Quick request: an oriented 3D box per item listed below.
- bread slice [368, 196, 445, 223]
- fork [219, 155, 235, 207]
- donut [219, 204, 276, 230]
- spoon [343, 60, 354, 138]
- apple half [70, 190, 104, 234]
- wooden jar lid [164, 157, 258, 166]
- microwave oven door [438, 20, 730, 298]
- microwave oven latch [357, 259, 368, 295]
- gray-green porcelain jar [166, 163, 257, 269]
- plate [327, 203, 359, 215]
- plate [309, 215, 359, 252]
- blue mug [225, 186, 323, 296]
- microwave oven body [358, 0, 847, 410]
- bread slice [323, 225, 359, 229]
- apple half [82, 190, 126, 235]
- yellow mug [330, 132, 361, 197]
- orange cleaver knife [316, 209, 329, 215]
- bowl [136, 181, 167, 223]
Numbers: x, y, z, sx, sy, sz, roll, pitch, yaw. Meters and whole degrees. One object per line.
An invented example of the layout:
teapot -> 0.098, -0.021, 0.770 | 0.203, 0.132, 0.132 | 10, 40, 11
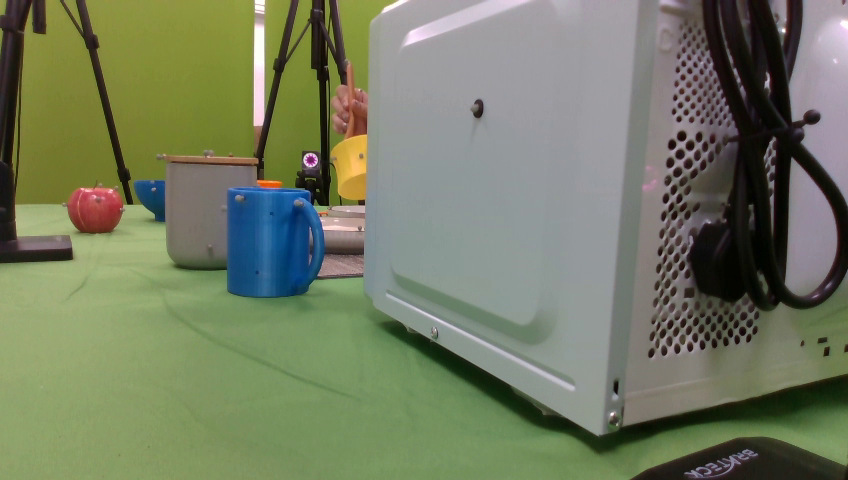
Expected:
bread slice -> -0.040, -0.057, 1.142 | 0.107, 0.018, 0.133 | -8, -8, -39
fork -> -0.459, -0.134, 1.415 | 0.028, 0.018, 0.207 | -1, -34, -25
donut -> -0.316, -0.039, 1.083 | 0.099, 0.048, 0.099 | 2, 7, 0
spoon -> -0.121, -0.198, 0.977 | 0.021, 0.193, 0.042 | -1, -6, 35
apple half -> -0.552, -0.048, 1.010 | 0.053, 0.074, 0.081 | -1, 10, 26
wooden jar lid -> -0.261, -0.093, 0.746 | 0.108, 0.020, 0.108 | 0, 9, 0
microwave oven door -> 0.181, -0.076, 0.618 | 0.358, 0.243, 0.039 | -2, 8, -28
microwave oven latch -> -0.019, 0.031, 0.529 | 0.079, 0.029, 0.030 | -1, 7, -26
gray-green porcelain jar -> -0.263, -0.031, 0.754 | 0.106, 0.126, 0.106 | 2, 7, 0
plate -> -0.102, -0.053, 1.299 | 0.209, 0.038, 0.209 | 2, 8, 0
plate -> -0.130, -0.011, 0.945 | 0.208, 0.039, 0.207 | 2, 7, 0
blue mug -> -0.148, 0.000, 0.618 | 0.116, 0.106, 0.083 | 7, 9, 33
microwave oven body -> 0.210, -0.051, 0.471 | 0.444, 0.260, 0.324 | -1, 7, -28
bread slice -> -0.124, -0.008, 0.938 | 0.131, 0.019, 0.105 | 4, 9, 33
apple half -> -0.516, -0.046, 0.994 | 0.032, 0.081, 0.081 | 0, 6, 26
yellow mug -> -0.081, -0.124, 0.945 | 0.130, 0.064, 0.100 | -26, -22, 34
orange cleaver knife -> -0.259, -0.064, 1.423 | 0.212, 0.012, 0.077 | -4, 3, -30
bowl -> -0.497, -0.076, 1.221 | 0.151, 0.077, 0.151 | 2, 8, 0
